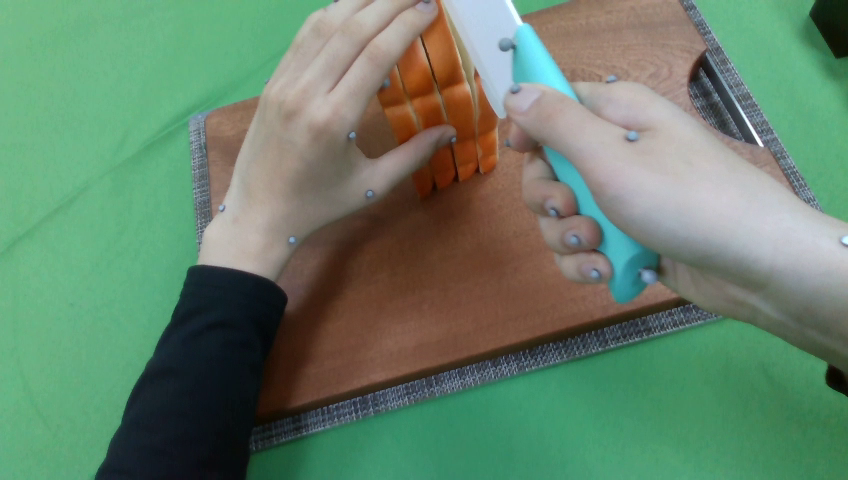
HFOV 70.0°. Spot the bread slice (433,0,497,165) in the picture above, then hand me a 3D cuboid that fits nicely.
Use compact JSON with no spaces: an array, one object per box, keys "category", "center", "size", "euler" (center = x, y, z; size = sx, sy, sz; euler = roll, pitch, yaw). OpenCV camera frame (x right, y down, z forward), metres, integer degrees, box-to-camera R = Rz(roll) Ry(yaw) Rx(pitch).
[{"category":"bread slice","center":[0.028,-0.128,0.408],"size":[0.019,0.132,0.104],"euler":[-15,64,-3]}]

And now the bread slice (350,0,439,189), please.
[{"category":"bread slice","center":[-0.021,-0.114,0.409],"size":[0.018,0.135,0.106],"euler":[-19,60,5]}]

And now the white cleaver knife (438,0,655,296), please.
[{"category":"white cleaver knife","center":[0.037,-0.103,0.306],"size":[0.021,0.066,0.284],"euler":[-20,75,-13]}]
